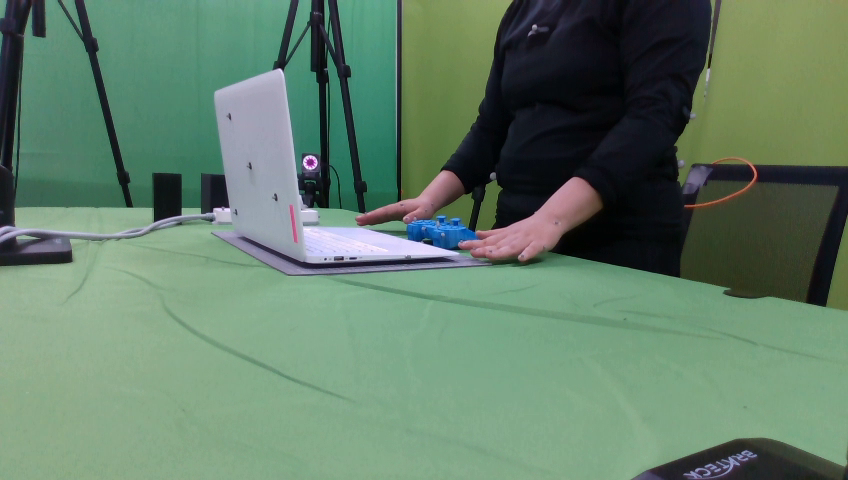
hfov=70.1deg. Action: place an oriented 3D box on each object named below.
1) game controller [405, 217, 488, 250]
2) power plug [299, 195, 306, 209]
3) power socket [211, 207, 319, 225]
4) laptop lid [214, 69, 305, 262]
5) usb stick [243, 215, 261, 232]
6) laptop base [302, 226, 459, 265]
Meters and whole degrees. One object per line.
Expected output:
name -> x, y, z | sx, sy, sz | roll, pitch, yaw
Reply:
game controller -> 0.034, -0.013, 1.067 | 0.097, 0.051, 0.154 | -6, 10, -29
power plug -> -0.283, -0.075, 1.342 | 0.035, 0.052, 0.072 | 0, 3, -18
power socket -> -0.334, -0.051, 1.281 | 0.228, 0.032, 0.072 | -1, 9, -29
laptop lid -> -0.246, -0.107, 0.865 | 0.013, 0.241, 0.355 | -11, 14, -30
usb stick -> -0.302, -0.029, 1.071 | 0.021, 0.027, 0.059 | 0, 11, -30
laptop base -> -0.136, 0.006, 0.951 | 0.237, 0.023, 0.352 | 2, 6, -32
